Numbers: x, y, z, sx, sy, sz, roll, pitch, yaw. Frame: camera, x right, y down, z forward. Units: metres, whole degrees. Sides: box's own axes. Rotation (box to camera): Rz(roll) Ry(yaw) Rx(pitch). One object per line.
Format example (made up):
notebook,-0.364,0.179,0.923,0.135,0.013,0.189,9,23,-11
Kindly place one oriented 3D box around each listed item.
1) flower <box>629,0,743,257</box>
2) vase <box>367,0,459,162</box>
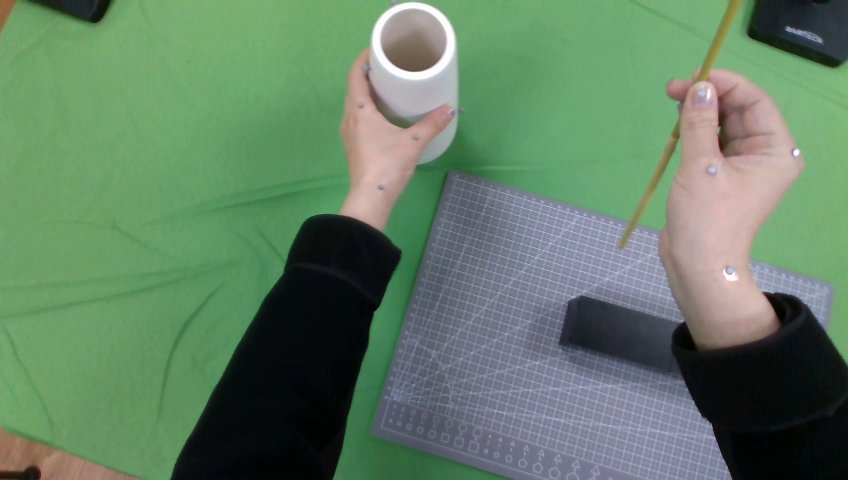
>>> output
flower,0.161,-0.087,0.354,0.038,0.365,0.043,-10,56,-2
vase,-0.008,-0.148,0.590,0.098,0.200,0.098,1,79,-3
